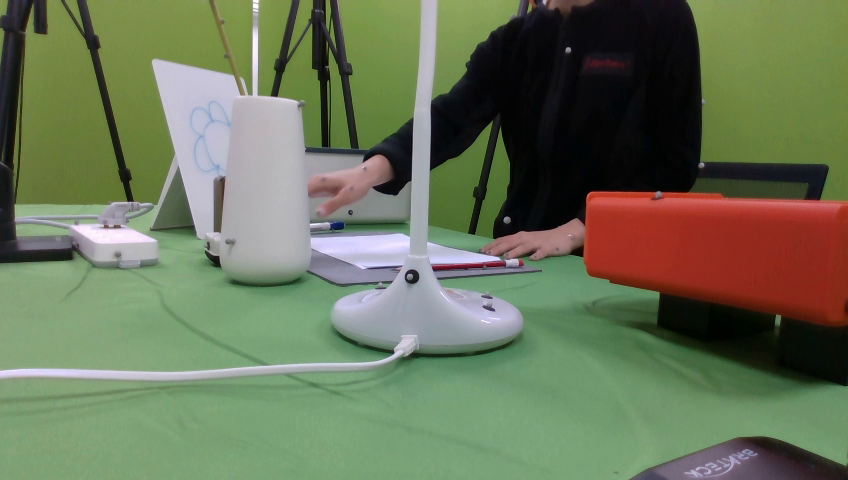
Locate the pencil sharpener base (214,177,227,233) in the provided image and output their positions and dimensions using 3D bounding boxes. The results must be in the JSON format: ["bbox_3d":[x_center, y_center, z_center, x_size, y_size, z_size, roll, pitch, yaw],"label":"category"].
[{"bbox_3d":[-0.265,-0.036,0.870,0.061,0.107,0.076,-2,8,-29],"label":"pencil sharpener base"}]

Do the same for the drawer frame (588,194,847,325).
[{"bbox_3d":[0.286,0.004,0.508,0.203,0.082,0.212,-1,6,-29],"label":"drawer frame"}]

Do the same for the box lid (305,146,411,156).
[{"bbox_3d":[-0.229,-0.200,1.360,0.373,0.015,0.262,-3,9,-33],"label":"box lid"}]

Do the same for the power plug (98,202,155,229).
[{"bbox_3d":[-0.416,-0.026,0.848,0.073,0.052,0.035,0,8,-28],"label":"power plug"}]

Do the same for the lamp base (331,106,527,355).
[{"bbox_3d":[0.006,-0.012,0.478,0.161,0.180,0.179,2,10,2],"label":"lamp base"}]

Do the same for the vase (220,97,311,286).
[{"bbox_3d":[-0.172,-0.052,0.662,0.098,0.200,0.098,3,9,0],"label":"vase"}]

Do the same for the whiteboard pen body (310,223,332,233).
[{"bbox_3d":[-0.207,-0.021,1.081,0.017,0.017,0.141,9,10,41],"label":"whiteboard pen body"}]

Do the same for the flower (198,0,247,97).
[{"bbox_3d":[-0.187,-0.133,0.648,0.038,0.362,0.044,-1,22,43],"label":"flower"}]

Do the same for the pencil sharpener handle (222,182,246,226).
[{"bbox_3d":[-0.289,-0.055,0.912,0.036,0.067,0.030,-3,9,-29],"label":"pencil sharpener handle"}]

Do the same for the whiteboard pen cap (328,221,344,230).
[{"bbox_3d":[-0.166,-0.027,1.124,0.018,0.018,0.033,9,10,40],"label":"whiteboard pen cap"}]

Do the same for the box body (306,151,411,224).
[{"bbox_3d":[-0.230,-0.126,1.370,0.366,0.160,0.253,-2,8,-33],"label":"box body"}]

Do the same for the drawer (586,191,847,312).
[{"bbox_3d":[0.281,0.001,0.513,0.195,0.073,0.210,-1,8,-29],"label":"drawer"}]

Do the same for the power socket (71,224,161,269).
[{"bbox_3d":[-0.408,0.004,0.793,0.072,0.032,0.225,-2,8,-38],"label":"power socket"}]

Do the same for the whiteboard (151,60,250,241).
[{"bbox_3d":[-0.408,-0.139,1.093,0.143,0.305,0.218,-15,-1,26],"label":"whiteboard"}]

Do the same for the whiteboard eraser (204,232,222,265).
[{"bbox_3d":[-0.219,0.010,0.778,0.113,0.042,0.055,-3,8,-33],"label":"whiteboard eraser"}]

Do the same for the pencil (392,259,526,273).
[{"bbox_3d":[0.049,0.035,0.782,0.195,0.012,0.012,-2,9,-25],"label":"pencil"}]
